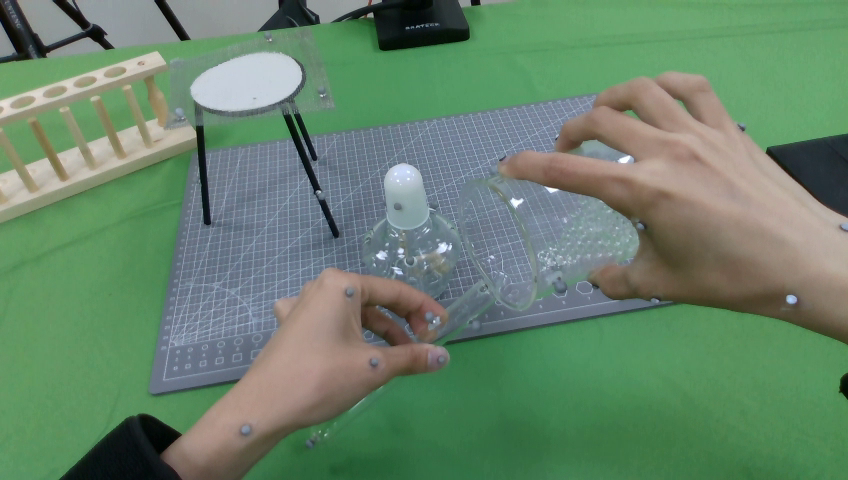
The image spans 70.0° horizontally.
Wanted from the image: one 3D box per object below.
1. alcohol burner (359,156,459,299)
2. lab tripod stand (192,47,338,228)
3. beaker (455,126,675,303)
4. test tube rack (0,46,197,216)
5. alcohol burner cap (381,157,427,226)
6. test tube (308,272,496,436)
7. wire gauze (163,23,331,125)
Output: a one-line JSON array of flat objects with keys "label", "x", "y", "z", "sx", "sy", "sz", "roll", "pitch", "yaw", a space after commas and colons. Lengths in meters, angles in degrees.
[{"label": "alcohol burner", "x": -0.012, "y": -0.012, "z": 0.459, "sx": 0.078, "sy": 0.120, "sz": 0.077, "roll": -2, "pitch": 43, "yaw": 2}, {"label": "lab tripod stand", "x": -0.138, "y": -0.085, "z": 0.527, "sx": 0.148, "sy": 0.133, "sz": 0.147, "roll": -3, "pitch": 47, "yaw": 3}, {"label": "beaker", "x": 0.079, "y": -0.016, "z": 0.336, "sx": 0.100, "sy": 0.084, "sz": 0.073, "roll": -21, "pitch": 56, "yaw": -19}, {"label": "test tube rack", "x": -0.362, "y": -0.105, "z": 0.602, "sx": 0.242, "sy": 0.086, "sz": 0.066, "roll": -27, "pitch": 49, "yaw": -21}, {"label": "alcohol burner cap", "x": -0.016, "y": -0.037, "z": 0.433, "sx": 0.034, "sy": 0.048, "sz": 0.033, "roll": -3, "pitch": 47, "yaw": 4}, {"label": "test tube", "x": -0.016, "y": 0.072, "z": 0.367, "sx": 0.150, "sy": 0.017, "sz": 0.017, "roll": -42, "pitch": 47, "yaw": 13}, {"label": "wire gauze", "x": -0.143, "y": -0.132, "z": 0.478, "sx": 0.125, "sy": 0.011, "sz": 0.120, "roll": -14, "pitch": 46, "yaw": -7}]
